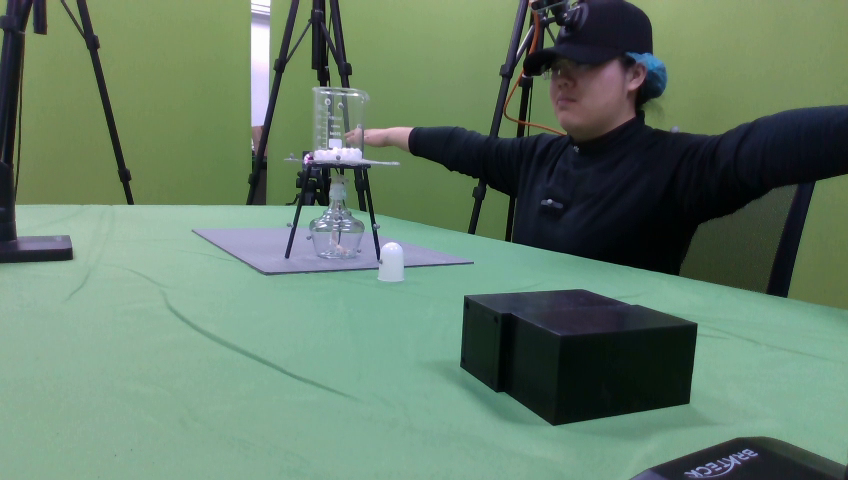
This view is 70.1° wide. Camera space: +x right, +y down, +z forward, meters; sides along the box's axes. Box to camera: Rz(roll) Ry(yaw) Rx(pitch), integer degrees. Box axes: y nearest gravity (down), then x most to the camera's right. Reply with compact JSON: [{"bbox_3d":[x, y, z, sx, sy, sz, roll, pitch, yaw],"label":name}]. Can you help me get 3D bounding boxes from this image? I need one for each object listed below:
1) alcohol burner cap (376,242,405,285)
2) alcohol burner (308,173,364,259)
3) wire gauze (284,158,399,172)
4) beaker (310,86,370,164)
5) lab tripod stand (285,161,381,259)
[{"bbox_3d":[-0.039,0.026,0.710,0.034,0.048,0.034,3,6,0],"label":"alcohol burner cap"},{"bbox_3d":[-0.121,-0.033,0.843,0.078,0.119,0.078,3,5,0],"label":"alcohol burner"},{"bbox_3d":[-0.116,-0.108,0.835,0.126,0.011,0.121,0,10,-31],"label":"wire gauze"},{"bbox_3d":[-0.116,-0.156,0.833,0.084,0.100,0.073,-2,10,-29],"label":"beaker"},{"bbox_3d":[-0.123,-0.043,0.842,0.148,0.131,0.148,2,9,0],"label":"lab tripod stand"}]
